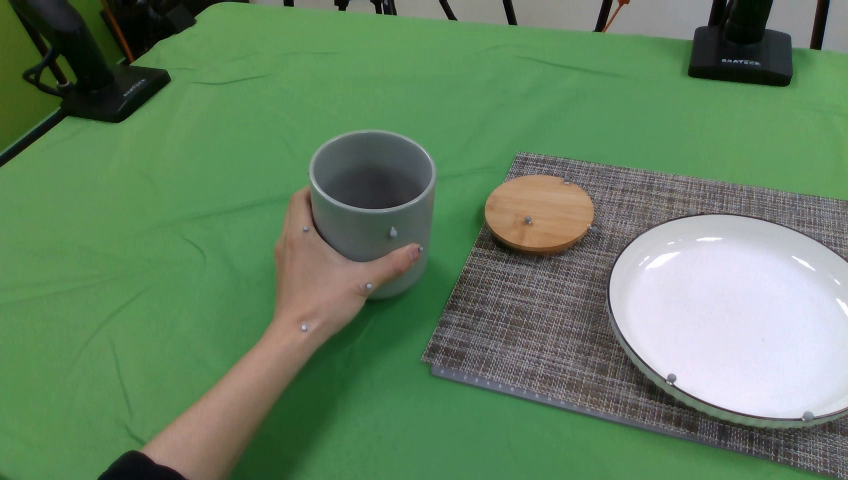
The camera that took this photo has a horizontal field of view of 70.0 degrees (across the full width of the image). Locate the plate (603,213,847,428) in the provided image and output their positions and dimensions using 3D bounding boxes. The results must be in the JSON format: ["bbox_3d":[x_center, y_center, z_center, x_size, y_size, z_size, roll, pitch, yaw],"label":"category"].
[{"bbox_3d":[0.251,0.062,0.493,0.207,0.039,0.205,-4,45,4],"label":"plate"}]

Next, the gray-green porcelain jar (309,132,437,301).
[{"bbox_3d":[-0.046,-0.015,0.543,0.106,0.127,0.105,3,47,-3],"label":"gray-green porcelain jar"}]

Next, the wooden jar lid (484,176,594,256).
[{"bbox_3d":[0.115,-0.023,0.609,0.108,0.021,0.107,-3,45,3],"label":"wooden jar lid"}]
